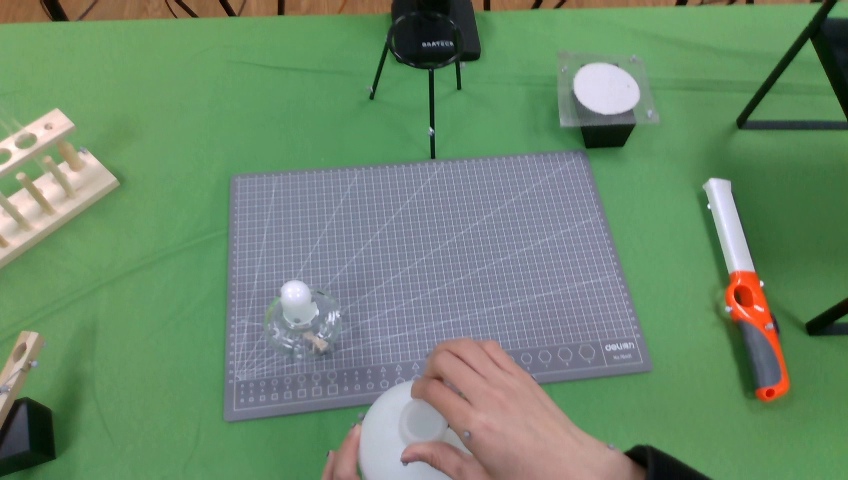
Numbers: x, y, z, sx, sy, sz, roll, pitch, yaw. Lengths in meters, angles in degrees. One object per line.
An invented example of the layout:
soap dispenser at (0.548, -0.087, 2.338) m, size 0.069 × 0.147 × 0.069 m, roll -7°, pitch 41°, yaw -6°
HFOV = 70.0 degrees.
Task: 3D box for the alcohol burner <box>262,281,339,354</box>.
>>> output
alcohol burner at (-0.124, 0.070, 0.602) m, size 0.078 × 0.120 × 0.077 m, roll 3°, pitch 60°, yaw -4°

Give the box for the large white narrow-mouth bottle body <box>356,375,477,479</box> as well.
large white narrow-mouth bottle body at (-0.007, 0.170, 0.514) m, size 0.102 × 0.196 × 0.101 m, roll 1°, pitch 61°, yaw -2°

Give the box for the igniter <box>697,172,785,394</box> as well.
igniter at (0.364, 0.041, 0.701) m, size 0.057 × 0.025 × 0.274 m, roll 5°, pitch 62°, yaw -13°

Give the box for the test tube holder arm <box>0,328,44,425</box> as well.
test tube holder arm at (-0.386, 0.163, 0.539) m, size 0.013 × 0.015 × 0.177 m, roll 6°, pitch 63°, yaw 6°

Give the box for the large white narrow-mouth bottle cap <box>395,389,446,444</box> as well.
large white narrow-mouth bottle cap at (-0.002, 0.128, 0.439) m, size 0.038 × 0.024 × 0.037 m, roll 2°, pitch 62°, yaw -3°

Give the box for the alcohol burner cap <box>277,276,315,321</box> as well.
alcohol burner cap at (-0.122, 0.053, 0.570) m, size 0.034 × 0.048 × 0.033 m, roll 0°, pitch 57°, yaw 0°

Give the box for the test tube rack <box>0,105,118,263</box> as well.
test tube rack at (-0.469, -0.034, 0.652) m, size 0.066 × 0.086 × 0.242 m, roll 40°, pitch 67°, yaw 16°

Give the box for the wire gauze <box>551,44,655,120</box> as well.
wire gauze at (0.225, -0.203, 0.775) m, size 0.121 × 0.011 × 0.124 m, roll 2°, pitch 62°, yaw -3°

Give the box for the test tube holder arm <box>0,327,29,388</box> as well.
test tube holder arm at (-0.385, 0.123, 0.560) m, size 0.010 × 0.015 × 0.087 m, roll 5°, pitch 62°, yaw 5°

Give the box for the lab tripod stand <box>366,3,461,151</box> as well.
lab tripod stand at (-0.004, -0.206, 0.746) m, size 0.148 × 0.132 × 0.147 m, roll 2°, pitch 63°, yaw -4°

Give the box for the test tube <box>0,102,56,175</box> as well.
test tube at (-0.433, -0.116, 0.641) m, size 0.017 × 0.151 × 0.017 m, roll 0°, pitch 60°, yaw 0°
